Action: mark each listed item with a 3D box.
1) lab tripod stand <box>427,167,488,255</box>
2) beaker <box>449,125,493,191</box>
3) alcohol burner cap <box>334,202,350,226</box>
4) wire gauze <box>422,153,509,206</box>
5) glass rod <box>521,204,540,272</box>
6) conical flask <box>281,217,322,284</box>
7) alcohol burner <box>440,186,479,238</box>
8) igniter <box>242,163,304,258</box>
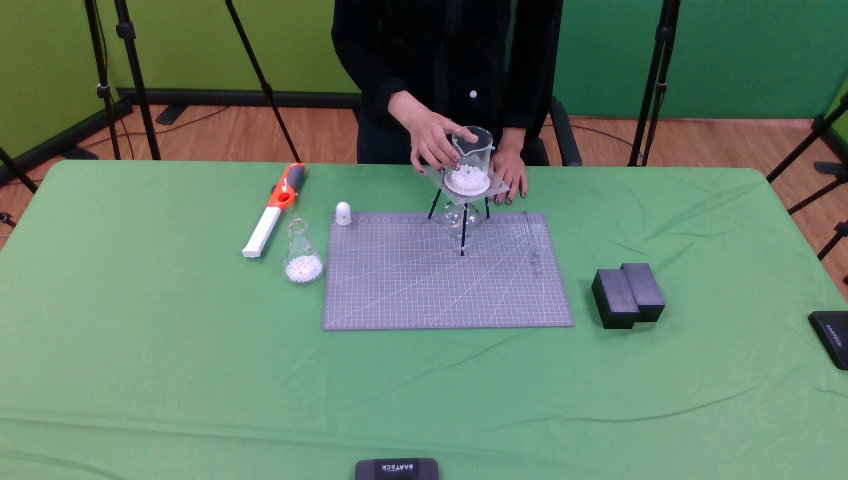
[{"bbox_3d":[0.076,-0.068,1.191,0.148,0.132,0.147,2,44,-2],"label":"lab tripod stand"},{"bbox_3d":[0.083,-0.145,1.108,0.074,0.101,0.083,15,47,12],"label":"beaker"},{"bbox_3d":[-0.166,-0.055,1.223,0.034,0.048,0.033,2,45,-2],"label":"alcohol burner cap"},{"bbox_3d":[0.078,-0.115,1.144,0.125,0.011,0.120,-21,49,-20],"label":"wire gauze"},{"bbox_3d":[0.215,-0.008,1.230,0.008,0.008,0.198,0,43,-3],"label":"glass rod"},{"bbox_3d":[-0.225,0.016,1.097,0.075,0.122,0.075,3,46,-2],"label":"conical flask"},{"bbox_3d":[0.072,-0.061,1.198,0.078,0.119,0.077,3,47,-3],"label":"alcohol burner"},{"bbox_3d":[-0.305,-0.069,1.239,0.057,0.025,0.275,2,45,12],"label":"igniter"}]
